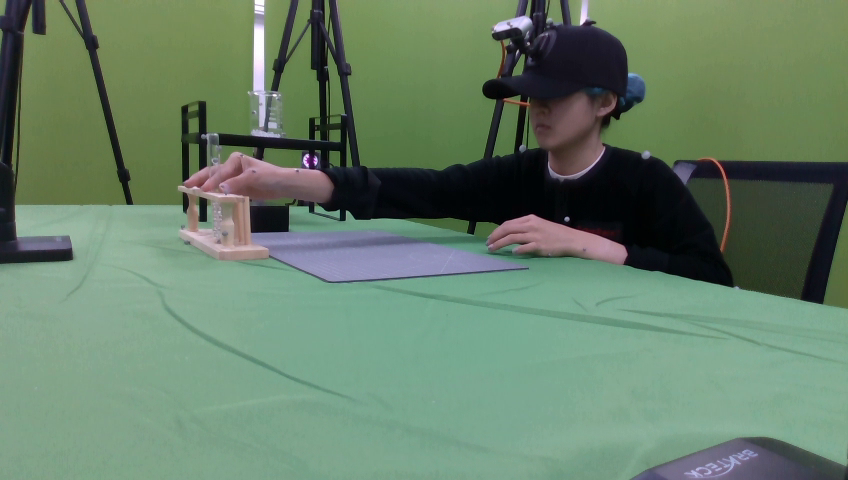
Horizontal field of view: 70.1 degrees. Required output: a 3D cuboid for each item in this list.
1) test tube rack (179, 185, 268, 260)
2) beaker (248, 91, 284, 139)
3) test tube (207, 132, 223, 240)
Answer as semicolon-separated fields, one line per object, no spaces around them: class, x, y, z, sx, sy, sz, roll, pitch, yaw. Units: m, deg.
test tube rack;-0.303;-0.032;0.898;0.067;0.085;0.241;-2;9;-33
beaker;-0.353;-0.277;1.343;0.073;0.100;0.084;8;9;39
test tube;-0.293;-0.075;0.850;0.017;0.150;0.017;-1;5;0
